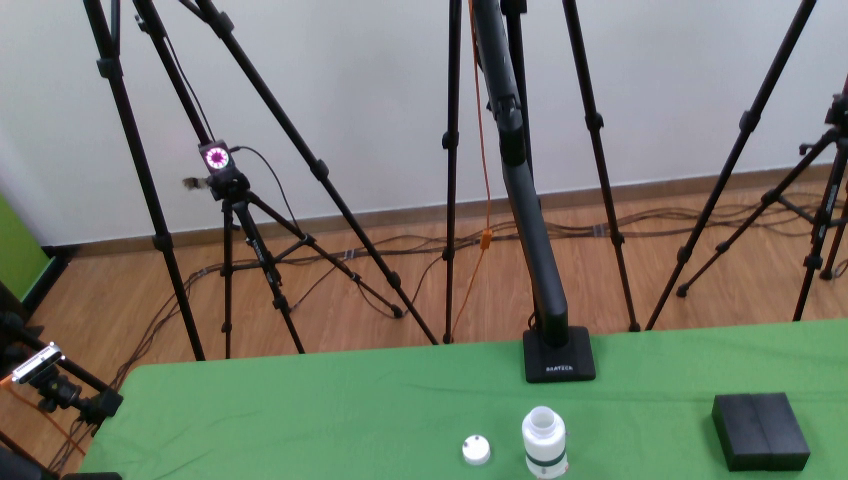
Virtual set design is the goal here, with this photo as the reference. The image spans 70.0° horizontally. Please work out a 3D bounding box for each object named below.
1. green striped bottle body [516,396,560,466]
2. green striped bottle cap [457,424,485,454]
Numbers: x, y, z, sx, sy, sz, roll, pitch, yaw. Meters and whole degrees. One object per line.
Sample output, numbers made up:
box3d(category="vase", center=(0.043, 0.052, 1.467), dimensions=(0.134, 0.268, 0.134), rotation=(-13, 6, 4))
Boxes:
box3d(category="green striped bottle body", center=(0.174, 0.287, 0.918), dimensions=(0.063, 0.120, 0.062), rotation=(-7, 41, 7))
box3d(category="green striped bottle cap", center=(0.077, 0.323, 0.984), dimensions=(0.044, 0.020, 0.044), rotation=(-6, 45, 7))
